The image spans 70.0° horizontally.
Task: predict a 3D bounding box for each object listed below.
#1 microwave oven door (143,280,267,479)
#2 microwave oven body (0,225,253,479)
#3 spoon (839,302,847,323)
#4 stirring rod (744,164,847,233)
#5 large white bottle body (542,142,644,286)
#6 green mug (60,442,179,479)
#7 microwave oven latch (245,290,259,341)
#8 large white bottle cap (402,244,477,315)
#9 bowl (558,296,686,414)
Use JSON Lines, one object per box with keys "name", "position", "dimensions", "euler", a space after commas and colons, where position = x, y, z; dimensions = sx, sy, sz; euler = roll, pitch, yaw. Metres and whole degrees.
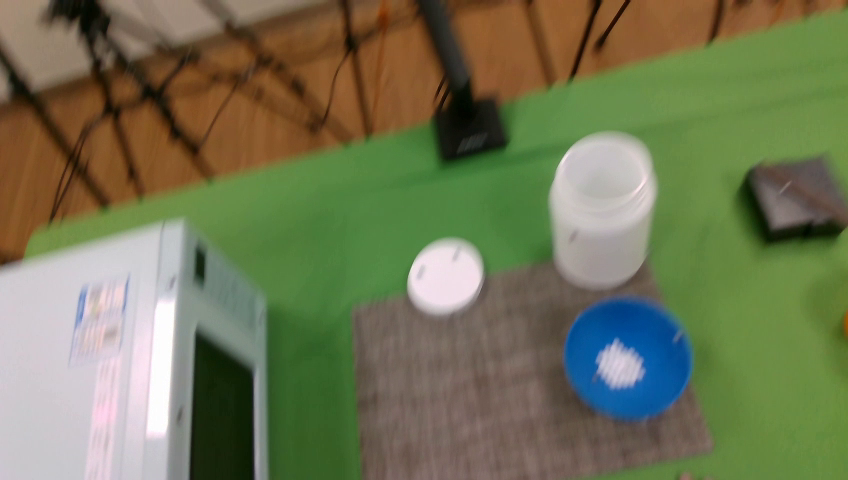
{"name": "microwave oven door", "position": [-0.259, 0.253, 0.739], "dimensions": [0.039, 0.246, 0.352], "euler": [-15, 59, 6]}
{"name": "microwave oven body", "position": [-0.406, 0.258, 0.778], "dimensions": [0.326, 0.263, 0.437], "euler": [-15, 60, 5]}
{"name": "spoon", "position": [0.589, 0.082, 0.702], "dimensions": [0.022, 0.193, 0.041], "euler": [39, 66, -17]}
{"name": "stirring rod", "position": [0.512, -0.053, 0.816], "dimensions": [0.174, 0.006, 0.014], "euler": [42, 112, 29]}
{"name": "large white bottle body", "position": [0.229, -0.034, 0.828], "dimensions": [0.130, 0.186, 0.129], "euler": [-7, 56, 11]}
{"name": "green mug", "position": [-0.379, 0.300, 0.774], "dimensions": [0.125, 0.106, 0.091], "euler": [-24, 62, -7]}
{"name": "microwave oven latch", "position": [-0.272, 0.118, 0.936], "dimensions": [0.030, 0.030, 0.078], "euler": [-14, 60, 6]}
{"name": "large white bottle cap", "position": [0.023, 0.060, 0.925], "dimensions": [0.114, 0.018, 0.114], "euler": [-6, 60, 10]}
{"name": "bowl", "position": [0.250, 0.156, 0.780], "dimensions": [0.151, 0.077, 0.150], "euler": [-6, 60, 11]}
